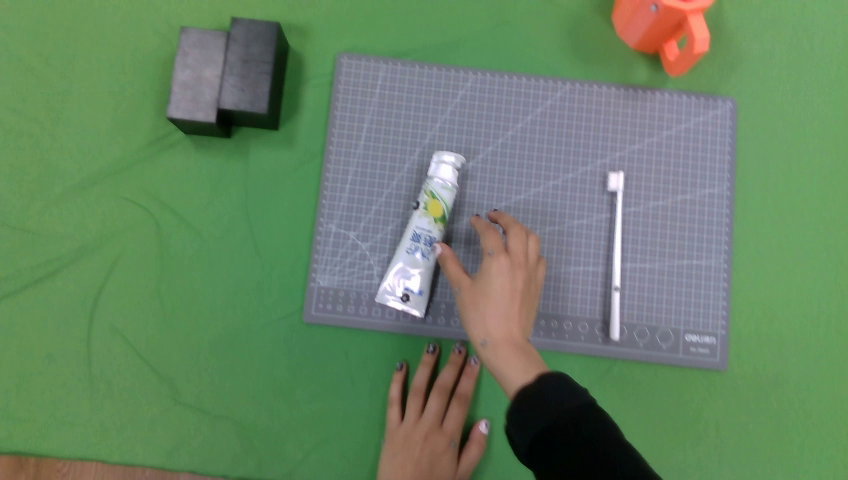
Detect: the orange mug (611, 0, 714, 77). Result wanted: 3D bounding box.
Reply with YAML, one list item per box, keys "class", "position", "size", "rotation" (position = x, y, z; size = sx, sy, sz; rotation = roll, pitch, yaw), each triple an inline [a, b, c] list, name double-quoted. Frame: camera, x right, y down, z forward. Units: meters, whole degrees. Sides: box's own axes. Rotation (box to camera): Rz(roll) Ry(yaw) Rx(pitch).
- class: "orange mug"
  position: [0.262, -0.244, 0.645]
  size: [0.083, 0.101, 0.125]
  rotation: [-15, 78, -3]

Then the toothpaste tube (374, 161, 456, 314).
- class: "toothpaste tube"
  position: [-0.003, -0.008, 0.640]
  size: [0.055, 0.034, 0.165]
  rotation: [17, 86, 9]

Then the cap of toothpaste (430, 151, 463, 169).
- class: "cap of toothpaste"
  position: [0.024, -0.085, 0.645]
  size: [0.037, 0.037, 0.011]
  rotation: [8, 80, 0]

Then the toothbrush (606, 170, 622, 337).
- class: "toothbrush"
  position: [0.202, 0.013, 0.648]
  size: [0.016, 0.014, 0.181]
  rotation: [3, 82, 3]
